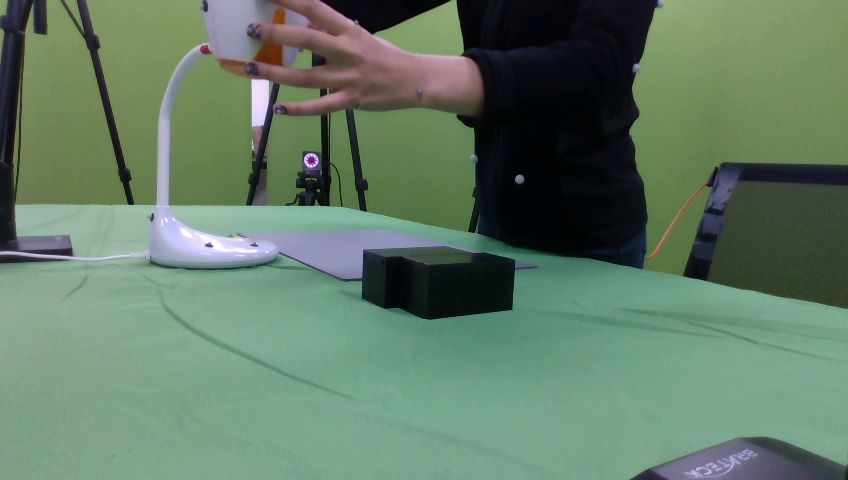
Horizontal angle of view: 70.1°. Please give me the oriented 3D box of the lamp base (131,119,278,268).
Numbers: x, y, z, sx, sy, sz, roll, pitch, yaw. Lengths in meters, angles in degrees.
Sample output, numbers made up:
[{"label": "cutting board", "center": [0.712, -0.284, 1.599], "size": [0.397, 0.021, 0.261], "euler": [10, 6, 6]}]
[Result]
[{"label": "lamp base", "center": [-0.279, -0.061, 0.770], "size": [0.160, 0.180, 0.180], "euler": [9, 13, 43]}]

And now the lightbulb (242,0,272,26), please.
[{"label": "lightbulb", "center": [-0.159, -0.256, 0.563], "size": [0.059, 0.107, 0.059], "euler": [-2, 11, 1]}]

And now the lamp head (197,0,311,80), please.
[{"label": "lamp head", "center": [-0.165, -0.215, 0.573], "size": [0.112, 0.123, 0.112], "euler": [9, 8, -1]}]
